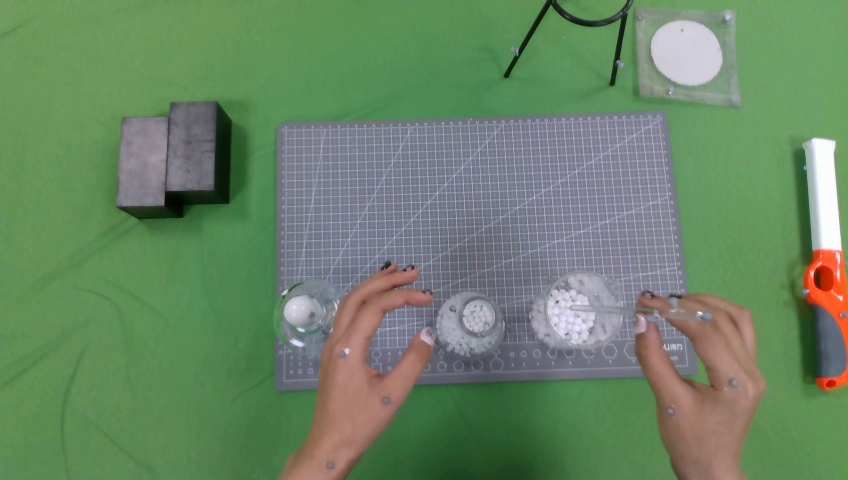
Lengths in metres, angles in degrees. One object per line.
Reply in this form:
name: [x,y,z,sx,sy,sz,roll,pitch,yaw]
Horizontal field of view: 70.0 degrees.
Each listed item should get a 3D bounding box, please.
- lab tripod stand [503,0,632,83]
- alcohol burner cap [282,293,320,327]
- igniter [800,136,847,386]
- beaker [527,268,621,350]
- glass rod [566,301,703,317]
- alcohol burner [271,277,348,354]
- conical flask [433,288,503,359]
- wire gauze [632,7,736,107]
lab tripod stand: [0.160,-0.237,0.658,0.148,0.132,0.148,0,81,0]
alcohol burner cap: [-0.116,0.065,0.565,0.034,0.048,0.033,1,82,-4]
igniter: [0.439,0.019,0.665,0.057,0.025,0.275,6,79,-10]
beaker: [0.149,0.071,0.612,0.084,0.100,0.073,-35,81,-8]
glass rod: [0.149,0.051,0.459,0.008,0.199,0.008,1,85,-9]
alcohol burner: [-0.117,0.073,0.600,0.078,0.119,0.077,0,77,2]
conical flask: [0.047,0.078,0.597,0.075,0.122,0.075,0,78,0]
wire gauze: [0.310,-0.221,0.721,0.125,0.011,0.121,4,79,-2]
